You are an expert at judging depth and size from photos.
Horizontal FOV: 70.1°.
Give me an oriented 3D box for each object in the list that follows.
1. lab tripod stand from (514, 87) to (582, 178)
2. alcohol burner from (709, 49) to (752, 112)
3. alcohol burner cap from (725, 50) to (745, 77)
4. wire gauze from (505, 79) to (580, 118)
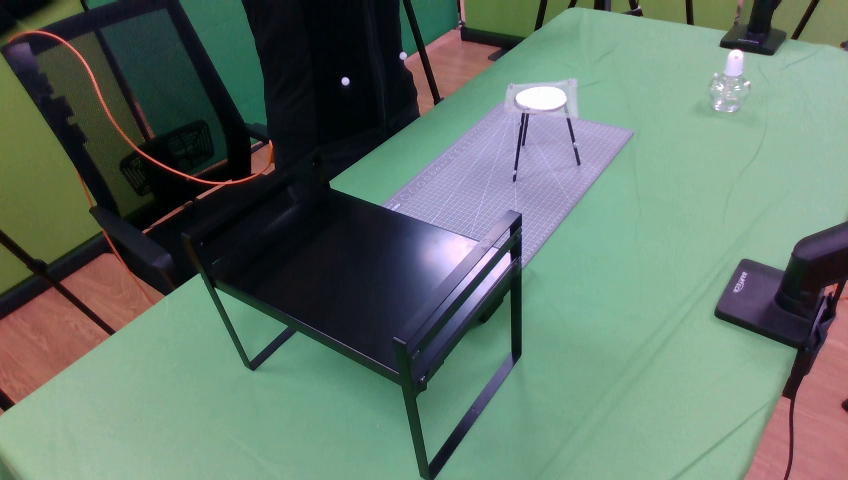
[{"bbox_3d":[0.211,-0.196,1.082,0.148,0.132,0.147,-3,40,3],"label":"lab tripod stand"},{"bbox_3d":[0.600,-0.313,1.179,0.078,0.119,0.077,-6,41,5],"label":"alcohol burner"},{"bbox_3d":[0.596,-0.340,1.154,0.034,0.048,0.033,-8,44,8],"label":"alcohol burner cap"},{"bbox_3d":[0.203,-0.244,1.036,0.125,0.011,0.121,4,41,11],"label":"wire gauze"}]
